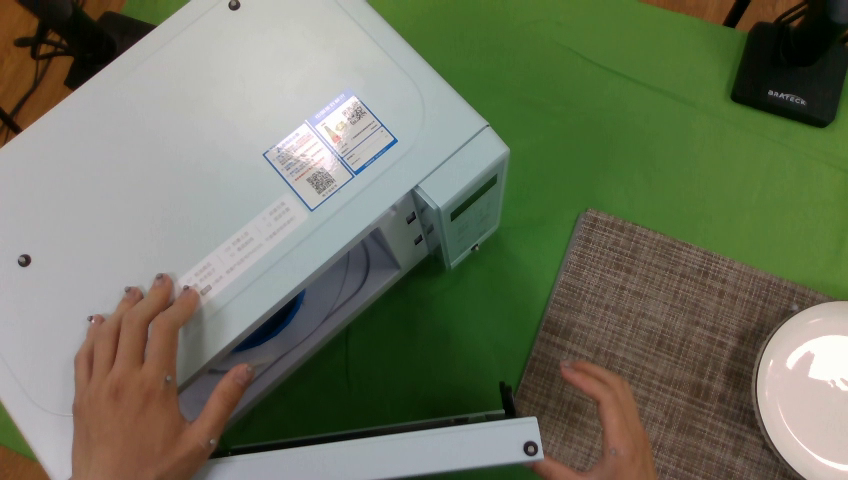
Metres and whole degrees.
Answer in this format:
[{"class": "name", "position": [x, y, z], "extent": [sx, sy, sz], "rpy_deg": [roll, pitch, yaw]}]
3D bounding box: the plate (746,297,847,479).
[{"class": "plate", "position": [0.445, 0.165, 0.642], "extent": [0.207, 0.039, 0.206], "rpy_deg": [-1, 76, 4]}]

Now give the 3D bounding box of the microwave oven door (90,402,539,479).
[{"class": "microwave oven door", "position": [-0.084, 0.193, 0.552], "extent": [0.356, 0.245, 0.039], "rpy_deg": [-9, 76, 2]}]

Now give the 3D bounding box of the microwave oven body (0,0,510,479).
[{"class": "microwave oven body", "position": [-0.186, -0.023, 0.619], "extent": [0.441, 0.261, 0.324], "rpy_deg": [-41, 77, -6]}]

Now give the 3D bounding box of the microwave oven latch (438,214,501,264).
[{"class": "microwave oven latch", "position": [0.052, -0.008, 0.698], "extent": [0.079, 0.029, 0.030], "rpy_deg": [-39, 77, -5]}]
